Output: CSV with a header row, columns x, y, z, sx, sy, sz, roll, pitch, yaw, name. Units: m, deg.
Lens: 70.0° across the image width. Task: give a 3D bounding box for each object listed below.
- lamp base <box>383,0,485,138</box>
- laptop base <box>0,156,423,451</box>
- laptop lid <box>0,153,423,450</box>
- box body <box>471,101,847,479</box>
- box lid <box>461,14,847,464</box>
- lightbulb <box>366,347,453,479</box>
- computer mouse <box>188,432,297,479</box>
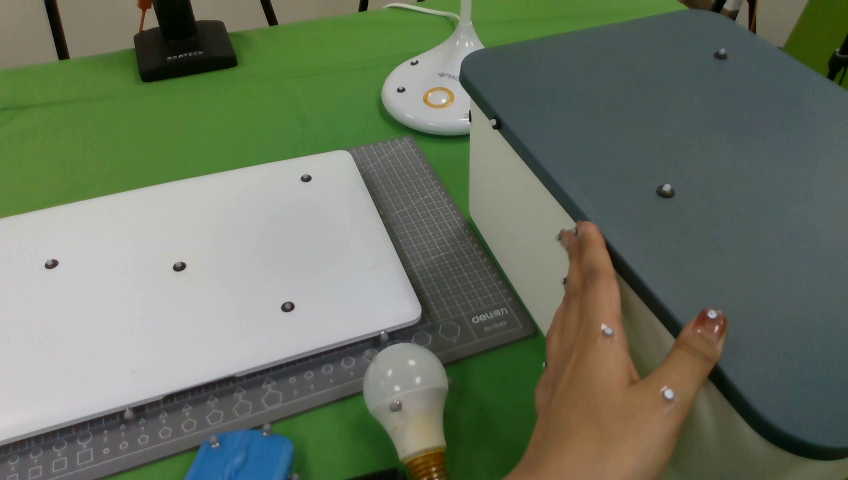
x,y,z,sx,sy,sz,roll,pitch,yaw,name
0.033,-0.237,0.689,0.160,0.182,0.178,10,43,9,lamp base
-0.202,0.036,0.523,0.355,0.023,0.233,-14,50,-15,laptop base
-0.202,0.029,0.513,0.357,0.013,0.239,-13,49,-14,laptop lid
0.211,0.004,0.464,0.255,0.162,0.359,-15,47,-15,box body
0.209,-0.054,0.405,0.264,0.015,0.367,-16,48,-16,box lid
-0.005,0.126,0.416,0.059,0.060,0.106,-12,62,-12,lightbulb
-0.121,0.171,0.377,0.063,0.041,0.116,2,41,4,computer mouse
